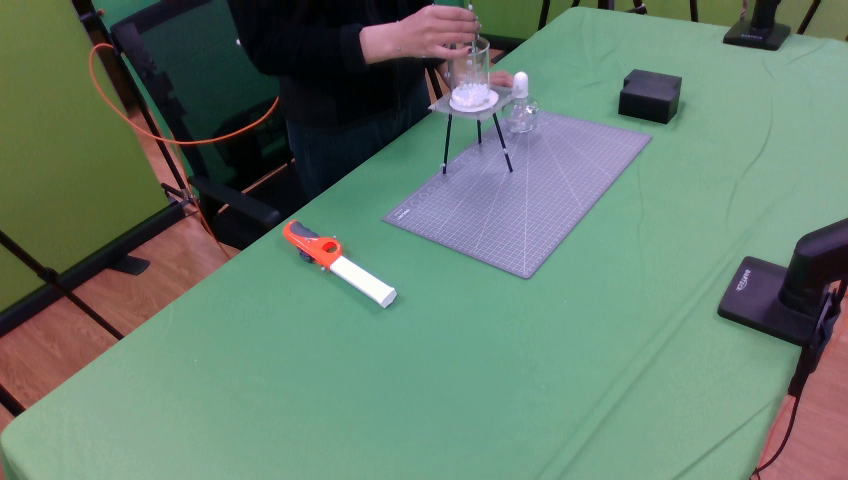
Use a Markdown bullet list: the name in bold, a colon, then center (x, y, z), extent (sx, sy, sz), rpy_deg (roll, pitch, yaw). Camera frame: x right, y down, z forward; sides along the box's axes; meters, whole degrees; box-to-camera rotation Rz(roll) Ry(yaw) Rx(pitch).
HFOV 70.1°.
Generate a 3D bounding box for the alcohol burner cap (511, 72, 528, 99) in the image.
- **alcohol burner cap**: center (0.185, -0.302, 1.171), extent (0.034, 0.048, 0.033), rpy_deg (-2, 42, 2)

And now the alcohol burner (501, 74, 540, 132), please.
- **alcohol burner**: center (0.191, -0.275, 1.194), extent (0.078, 0.119, 0.077), rpy_deg (-4, 42, 4)

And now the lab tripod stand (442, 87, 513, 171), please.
- **lab tripod stand**: center (0.097, -0.200, 1.108), extent (0.148, 0.132, 0.147), rpy_deg (-4, 40, 4)

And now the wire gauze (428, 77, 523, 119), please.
- **wire gauze**: center (0.091, -0.249, 1.063), extent (0.120, 0.011, 0.125), rpy_deg (24, 48, 30)

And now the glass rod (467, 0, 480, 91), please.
- **glass rod**: center (0.081, -0.337, 1.003), extent (0.008, 0.201, 0.008), rpy_deg (-6, 43, 6)

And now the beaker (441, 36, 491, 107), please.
- **beaker**: center (0.074, -0.286, 1.036), extent (0.084, 0.101, 0.073), rpy_deg (-1, 41, 8)

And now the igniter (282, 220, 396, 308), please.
- **igniter**: center (-0.146, 0.032, 0.966), extent (0.274, 0.025, 0.057), rpy_deg (30, 64, 37)
